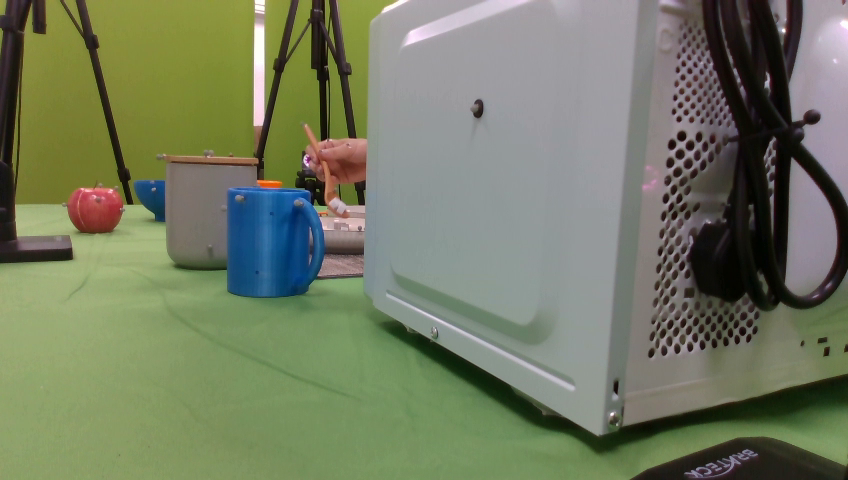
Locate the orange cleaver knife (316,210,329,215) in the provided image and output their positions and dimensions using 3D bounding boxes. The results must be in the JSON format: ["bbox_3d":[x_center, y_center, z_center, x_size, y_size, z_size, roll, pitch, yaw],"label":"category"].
[{"bbox_3d":[-0.259,-0.064,1.423,0.212,0.012,0.077,-4,3,-30],"label":"orange cleaver knife"}]

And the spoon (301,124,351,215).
[{"bbox_3d":[-0.158,-0.114,0.958,0.021,0.193,0.042,-36,-28,25],"label":"spoon"}]

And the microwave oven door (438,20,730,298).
[{"bbox_3d":[0.181,-0.076,0.618,0.358,0.243,0.039,-2,8,-28],"label":"microwave oven door"}]

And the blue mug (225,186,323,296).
[{"bbox_3d":[-0.148,0.000,0.618,0.116,0.106,0.083,7,9,33],"label":"blue mug"}]

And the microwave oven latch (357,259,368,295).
[{"bbox_3d":[-0.019,0.031,0.529,0.079,0.029,0.030,-1,7,-26],"label":"microwave oven latch"}]

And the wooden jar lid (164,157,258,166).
[{"bbox_3d":[-0.261,-0.093,0.746,0.108,0.020,0.108,0,9,0],"label":"wooden jar lid"}]

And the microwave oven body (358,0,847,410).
[{"bbox_3d":[0.210,-0.051,0.471,0.444,0.260,0.324,-1,7,-28],"label":"microwave oven body"}]

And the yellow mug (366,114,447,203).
[{"bbox_3d":[-0.017,-0.122,0.870,0.064,0.130,0.100,47,29,20],"label":"yellow mug"}]

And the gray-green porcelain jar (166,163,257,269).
[{"bbox_3d":[-0.263,-0.031,0.754,0.106,0.126,0.106,2,7,0],"label":"gray-green porcelain jar"}]

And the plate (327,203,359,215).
[{"bbox_3d":[-0.102,-0.053,1.299,0.209,0.038,0.209,2,8,0],"label":"plate"}]

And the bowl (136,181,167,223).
[{"bbox_3d":[-0.497,-0.076,1.221,0.151,0.077,0.151,2,8,0],"label":"bowl"}]

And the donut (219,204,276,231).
[{"bbox_3d":[-0.316,-0.039,1.083,0.099,0.048,0.099,3,7,0],"label":"donut"}]

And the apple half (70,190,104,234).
[{"bbox_3d":[-0.552,-0.048,1.010,0.053,0.074,0.081,-1,10,26],"label":"apple half"}]

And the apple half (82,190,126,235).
[{"bbox_3d":[-0.516,-0.046,0.994,0.032,0.081,0.081,0,6,26],"label":"apple half"}]

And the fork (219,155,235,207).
[{"bbox_3d":[-0.459,-0.134,1.415,0.028,0.018,0.207,0,-34,-24],"label":"fork"}]

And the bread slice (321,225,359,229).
[{"bbox_3d":[-0.124,-0.009,0.937,0.131,0.019,0.105,5,8,32],"label":"bread slice"}]

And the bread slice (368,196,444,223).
[{"bbox_3d":[-0.040,-0.057,1.141,0.107,0.018,0.133,-8,-8,-39],"label":"bread slice"}]

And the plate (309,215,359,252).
[{"bbox_3d":[-0.130,-0.011,0.945,0.208,0.039,0.207,2,8,0],"label":"plate"}]
